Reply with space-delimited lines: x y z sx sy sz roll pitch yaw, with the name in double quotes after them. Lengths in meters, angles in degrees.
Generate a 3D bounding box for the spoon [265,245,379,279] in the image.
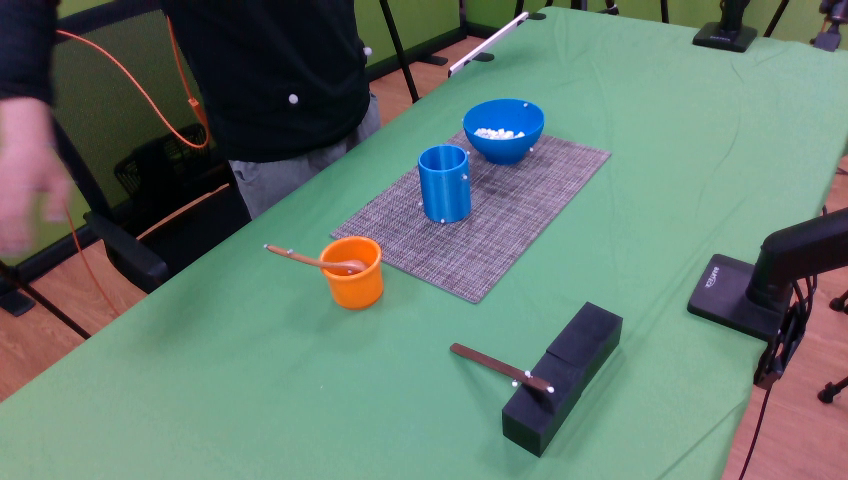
-0.137 0.031 0.846 0.195 0.021 0.041 13 16 -45 "spoon"

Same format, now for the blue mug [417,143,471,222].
0.031 -0.104 1.014 0.082 0.106 0.115 -14 41 -7 "blue mug"

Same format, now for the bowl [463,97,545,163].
0.149 -0.195 1.123 0.151 0.077 0.150 -4 41 4 "bowl"

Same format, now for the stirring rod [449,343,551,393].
0.088 0.154 0.741 0.014 0.006 0.174 -40 28 -25 "stirring rod"
